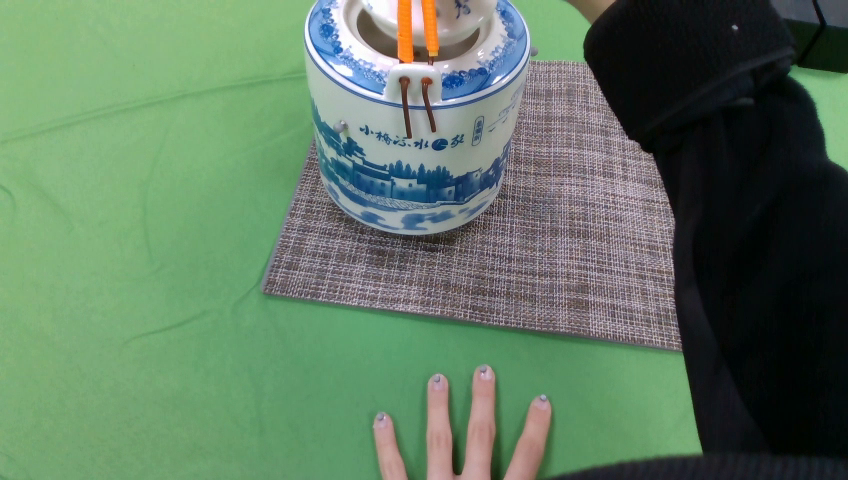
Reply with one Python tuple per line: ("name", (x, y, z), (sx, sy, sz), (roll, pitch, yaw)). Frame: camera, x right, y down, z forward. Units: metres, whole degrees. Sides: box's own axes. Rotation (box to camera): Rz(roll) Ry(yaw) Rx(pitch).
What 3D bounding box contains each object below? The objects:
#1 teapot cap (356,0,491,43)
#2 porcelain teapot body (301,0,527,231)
("teapot cap", (-0.001, -0.153, 0.357), (0.085, 0.044, 0.084), (3, 55, -4))
("porcelain teapot body", (-0.007, -0.141, 0.419), (0.145, 0.227, 0.203), (2, 54, -2))
